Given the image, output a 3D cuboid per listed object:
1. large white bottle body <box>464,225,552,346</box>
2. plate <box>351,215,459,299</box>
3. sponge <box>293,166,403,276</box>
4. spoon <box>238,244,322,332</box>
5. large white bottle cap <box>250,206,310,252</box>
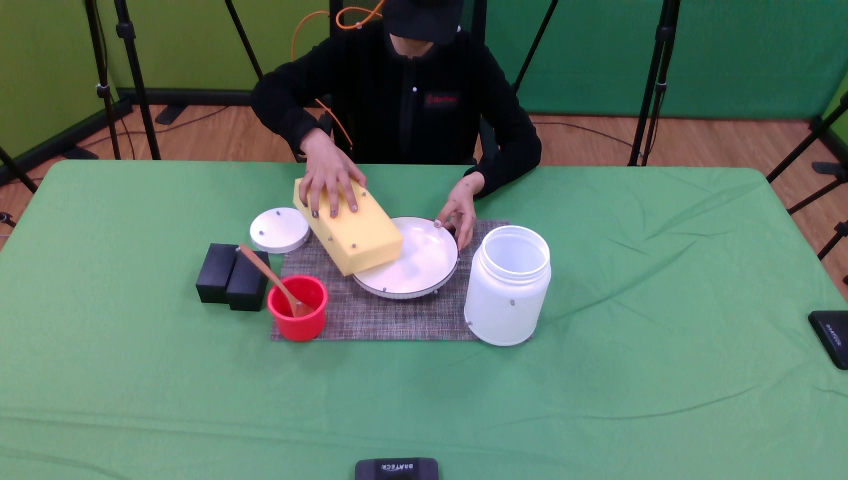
[{"bbox_3d":[0.141,0.076,1.017,0.131,0.185,0.130,2,46,-2],"label":"large white bottle body"},{"bbox_3d":[-0.039,0.034,1.135,0.209,0.038,0.208,-2,44,2],"label":"plate"},{"bbox_3d":[-0.146,-0.041,1.137,0.118,0.061,0.205,-20,58,-32],"label":"sponge"},{"bbox_3d":[-0.241,0.079,1.015,0.194,0.021,0.041,53,52,-15],"label":"spoon"},{"bbox_3d":[-0.284,-0.023,1.197,0.115,0.018,0.114,1,46,0],"label":"large white bottle cap"}]
